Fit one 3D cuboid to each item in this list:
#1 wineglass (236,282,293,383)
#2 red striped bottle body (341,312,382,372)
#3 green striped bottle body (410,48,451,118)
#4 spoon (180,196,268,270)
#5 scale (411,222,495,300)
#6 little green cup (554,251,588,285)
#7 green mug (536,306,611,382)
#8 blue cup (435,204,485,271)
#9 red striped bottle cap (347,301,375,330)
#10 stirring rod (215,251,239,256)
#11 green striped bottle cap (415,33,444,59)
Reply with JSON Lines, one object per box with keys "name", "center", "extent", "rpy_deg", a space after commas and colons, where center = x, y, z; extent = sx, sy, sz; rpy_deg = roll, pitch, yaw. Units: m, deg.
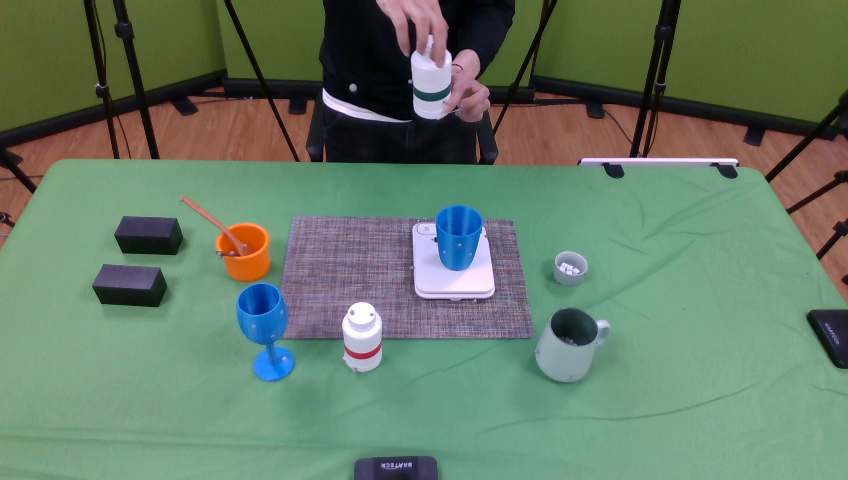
{"name": "wineglass", "center": [-0.243, 0.143, 0.934], "extent": [0.074, 0.173, 0.073], "rpy_deg": [2, 46, -2]}
{"name": "red striped bottle body", "center": [-0.100, 0.154, 0.972], "extent": [0.063, 0.120, 0.062], "rpy_deg": [2, 46, -1]}
{"name": "green striped bottle body", "center": [0.010, -0.257, 0.951], "extent": [0.063, 0.120, 0.063], "rpy_deg": [-1, 51, 2]}
{"name": "spoon", "center": [-0.360, -0.014, 1.094], "extent": [0.021, 0.194, 0.041], "rpy_deg": [-28, 26, 31]}
{"name": "scale", "center": [0.052, 0.031, 1.158], "extent": [0.149, 0.032, 0.199], "rpy_deg": [1, 46, -4]}
{"name": "little green cup", "center": [0.277, 0.055, 1.151], "extent": [0.061, 0.039, 0.061], "rpy_deg": [1, 46, -1]}
{"name": "green mug", "center": [0.250, 0.167, 0.996], "extent": [0.125, 0.105, 0.092], "rpy_deg": [-15, 48, -18]}
{"name": "blue cup", "center": [0.061, 0.001, 1.097], "extent": [0.092, 0.101, 0.092], "rpy_deg": [1, 44, 0]}
{"name": "red striped bottle cap", "center": [-0.097, 0.116, 0.934], "extent": [0.044, 0.018, 0.044], "rpy_deg": [2, 48, -2]}
{"name": "stirring rod", "center": [-0.339, 0.024, 1.059], "extent": [0.014, 0.176, 0.006], "rpy_deg": [16, 86, -6]}
{"name": "green striped bottle cap", "center": [0.008, -0.292, 0.911], "extent": [0.044, 0.020, 0.044], "rpy_deg": [-1, 52, 1]}
